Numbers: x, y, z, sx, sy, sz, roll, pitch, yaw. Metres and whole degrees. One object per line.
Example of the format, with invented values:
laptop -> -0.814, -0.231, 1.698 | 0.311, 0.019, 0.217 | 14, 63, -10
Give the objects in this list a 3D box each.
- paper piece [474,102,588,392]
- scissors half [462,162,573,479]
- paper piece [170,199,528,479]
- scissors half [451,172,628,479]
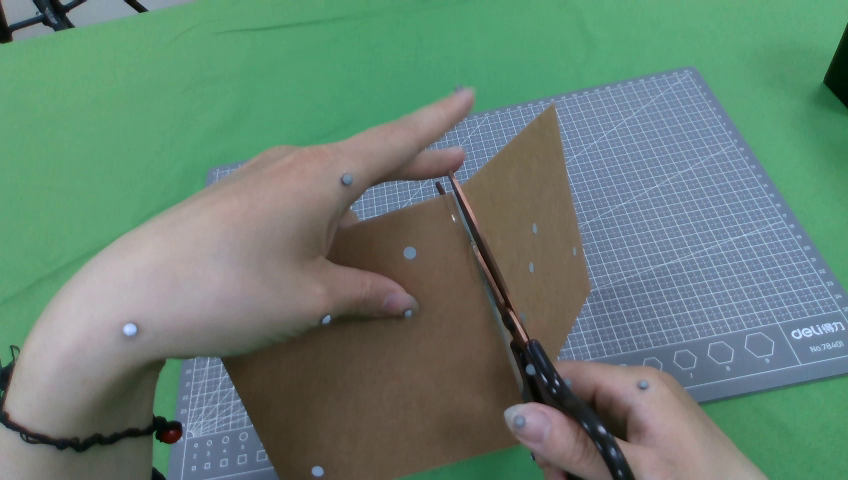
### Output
paper piece -> 0.069, 0.007, 0.344 | 0.004, 0.136, 0.135 | 3, 29, 32
scissors half -> 0.045, 0.047, 0.288 | 0.013, 0.176, 0.040 | -21, 17, -10
paper piece -> -0.029, 0.063, 0.299 | 0.138, 0.137, 0.008 | -20, 18, 0
scissors half -> 0.049, 0.045, 0.266 | 0.013, 0.040, 0.174 | -21, 75, -15
